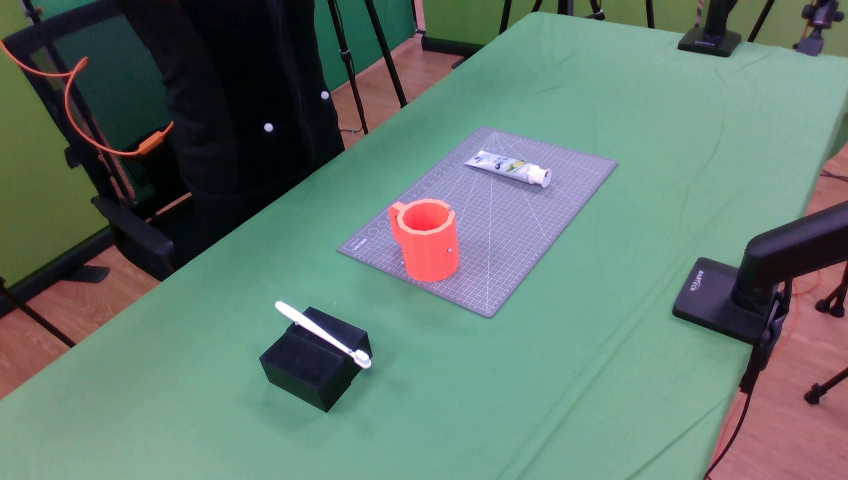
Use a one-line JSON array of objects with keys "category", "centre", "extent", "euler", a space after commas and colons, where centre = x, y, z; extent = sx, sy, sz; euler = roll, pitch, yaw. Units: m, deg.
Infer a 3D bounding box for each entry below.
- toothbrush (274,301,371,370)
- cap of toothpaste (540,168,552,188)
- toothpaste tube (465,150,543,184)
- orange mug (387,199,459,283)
[{"category": "toothbrush", "centre": [-0.135, 0.119, 0.783], "extent": [0.180, 0.017, 0.014], "euler": [25, 53, 33]}, {"category": "cap of toothpaste", "centre": [0.213, -0.109, 1.059], "extent": [0.011, 0.037, 0.037], "euler": [19, 47, 27]}, {"category": "toothpaste tube", "centre": [0.154, -0.135, 1.108], "extent": [0.163, 0.034, 0.055], "euler": [23, 43, 36]}, {"category": "orange mug", "centre": [-0.006, -0.007, 0.923], "extent": [0.125, 0.101, 0.084], "euler": [32, 54, 32]}]
